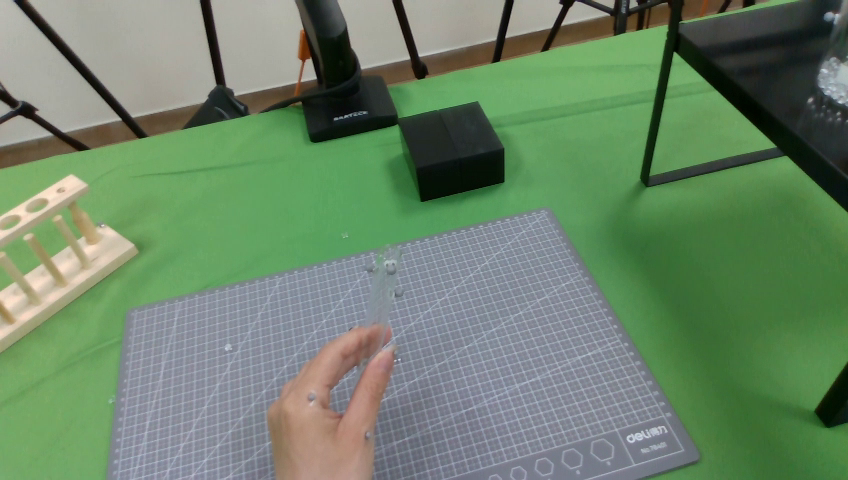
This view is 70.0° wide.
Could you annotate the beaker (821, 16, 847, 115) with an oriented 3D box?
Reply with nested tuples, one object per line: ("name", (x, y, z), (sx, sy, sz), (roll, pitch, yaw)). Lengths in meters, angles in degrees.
("beaker", (0.327, -0.141, 0.420), (0.083, 0.101, 0.074), (30, 55, 32))

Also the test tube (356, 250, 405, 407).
("test tube", (-0.032, 0.067, 0.420), (0.017, 0.151, 0.017), (8, 38, -6))

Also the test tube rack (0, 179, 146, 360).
("test tube rack", (-0.413, 0.048, 0.598), (0.066, 0.086, 0.242), (27, 54, 30))
